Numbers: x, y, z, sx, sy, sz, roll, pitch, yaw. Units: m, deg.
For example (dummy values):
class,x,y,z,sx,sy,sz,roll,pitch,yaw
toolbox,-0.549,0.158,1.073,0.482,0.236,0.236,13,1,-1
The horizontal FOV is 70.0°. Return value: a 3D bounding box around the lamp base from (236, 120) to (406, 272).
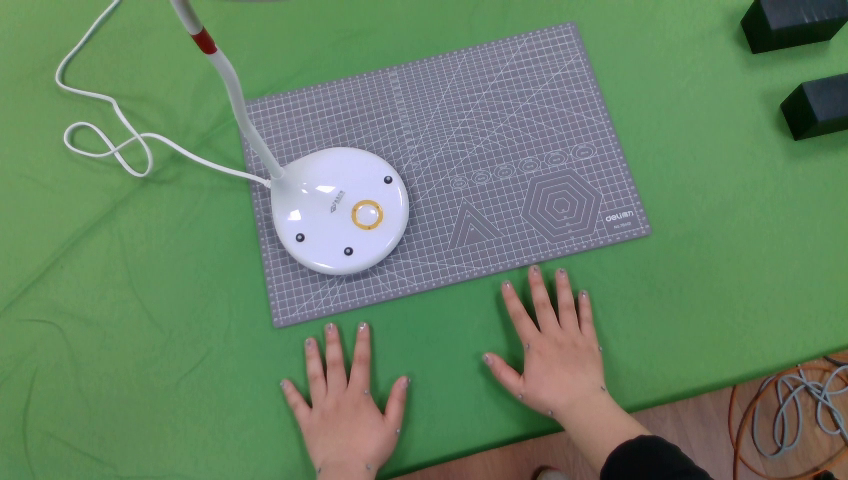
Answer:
class,x,y,z,sx,sy,sz,roll,pitch,yaw
lamp base,-0.118,-0.064,0.644,0.179,0.181,0.160,12,74,10
